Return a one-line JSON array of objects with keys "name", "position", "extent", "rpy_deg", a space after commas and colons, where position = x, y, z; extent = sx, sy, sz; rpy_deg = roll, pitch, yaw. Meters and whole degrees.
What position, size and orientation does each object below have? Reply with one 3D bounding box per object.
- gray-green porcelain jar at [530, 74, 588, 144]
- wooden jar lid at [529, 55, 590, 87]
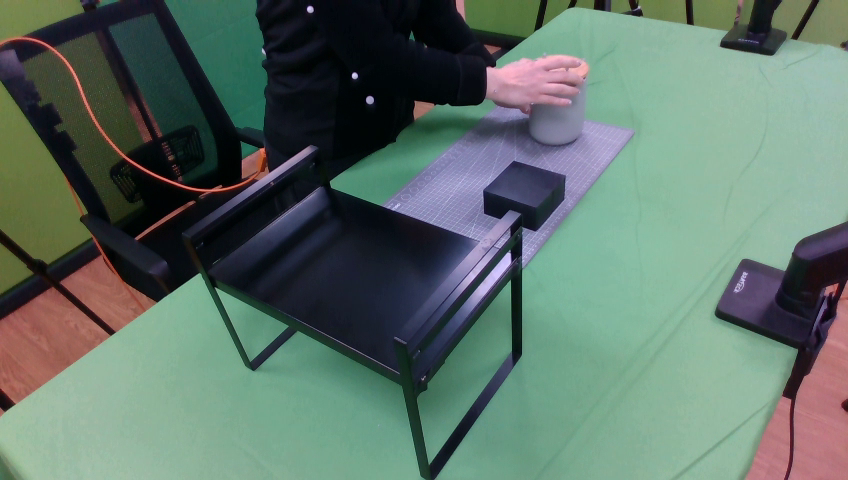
[{"name": "gray-green porcelain jar", "position": [0.255, -0.256, 1.151], "extent": [0.106, 0.127, 0.105], "rpy_deg": [-4, 41, 4]}, {"name": "wooden jar lid", "position": [0.246, -0.307, 1.102], "extent": [0.108, 0.021, 0.108], "rpy_deg": [-1, 38, 1]}]
